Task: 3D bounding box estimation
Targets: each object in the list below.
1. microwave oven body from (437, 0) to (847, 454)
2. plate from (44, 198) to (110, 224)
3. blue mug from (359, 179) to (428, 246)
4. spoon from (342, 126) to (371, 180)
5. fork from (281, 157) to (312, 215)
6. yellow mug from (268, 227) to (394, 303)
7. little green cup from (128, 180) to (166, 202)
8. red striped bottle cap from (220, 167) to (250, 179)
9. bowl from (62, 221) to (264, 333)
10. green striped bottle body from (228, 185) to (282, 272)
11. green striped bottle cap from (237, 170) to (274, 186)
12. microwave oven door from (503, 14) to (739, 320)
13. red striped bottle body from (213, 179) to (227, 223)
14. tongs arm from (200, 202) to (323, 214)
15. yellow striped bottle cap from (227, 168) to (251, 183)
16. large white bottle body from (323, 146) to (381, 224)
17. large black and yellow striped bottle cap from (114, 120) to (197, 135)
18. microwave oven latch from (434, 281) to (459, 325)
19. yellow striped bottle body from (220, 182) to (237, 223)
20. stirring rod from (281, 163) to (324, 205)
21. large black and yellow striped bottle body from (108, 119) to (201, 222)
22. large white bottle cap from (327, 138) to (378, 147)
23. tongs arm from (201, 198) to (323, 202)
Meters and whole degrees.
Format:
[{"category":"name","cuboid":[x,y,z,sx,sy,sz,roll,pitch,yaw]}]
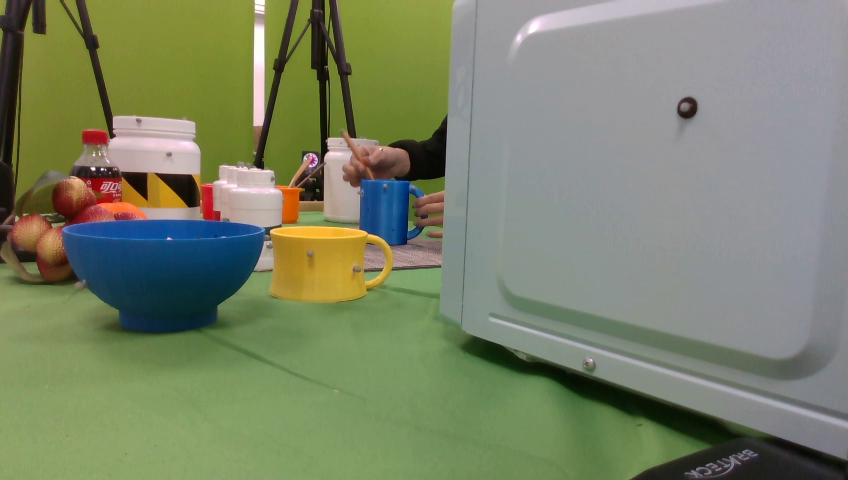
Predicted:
[{"category":"microwave oven body","cuboid":[0.279,-0.040,0.464,0.444,0.260,0.324,-3,9,-41]},{"category":"plate","cuboid":[-0.617,-0.056,1.179,0.209,0.038,0.209,3,7,0]},{"category":"blue mug","cuboid":[-0.051,-0.047,1.008,0.116,0.106,0.082,3,8,5]},{"category":"spoon","cuboid":[-0.096,-0.100,1.014,0.021,0.193,0.042,-16,9,19]},{"category":"fork","cuboid":[-0.289,-0.116,1.321,0.028,0.019,0.207,7,52,18]},{"category":"yellow mug","cuboid":[-0.094,0.023,0.629,0.131,0.064,0.099,0,6,-22]},{"category":"little green cup","cuboid":[-0.485,-0.087,1.062,0.061,0.038,0.061,-1,6,0]},{"category":"red striped bottle cap","cuboid":[-0.281,-0.100,0.901,0.044,0.017,0.044,-1,5,0]},{"category":"bowl","cuboid":[-0.209,0.029,0.496,0.151,0.077,0.151,2,7,0]},{"category":"green striped bottle body","cuboid":[-0.208,-0.023,0.745,0.063,0.119,0.063,2,7,0]},{"category":"green striped bottle cap","cuboid":[-0.205,-0.075,0.737,0.044,0.020,0.044,2,5,0]},{"category":"microwave oven door","cuboid":[0.217,-0.065,0.600,0.358,0.243,0.039,-4,10,-41]},{"category":"red striped bottle body","cuboid":[-0.284,-0.048,0.909,0.063,0.119,0.063,3,10,0]},{"category":"tongs arm","cuboid":[-0.378,-0.079,1.440,0.387,0.026,0.050,-4,8,-44]},{"category":"yellow striped bottle cap","cuboid":[-0.243,-0.087,0.818,0.044,0.018,0.044,3,6,0]},{"category":"large white bottle body","cuboid":[-0.163,-0.134,1.369,0.131,0.184,0.130,2,8,0]},{"category":"large black and yellow striped bottle cap","cuboid":[-0.407,-0.171,0.920,0.115,0.019,0.115,2,9,0]},{"category":"microwave oven latch","cuboid":[0.044,0.045,0.470,0.079,0.029,0.030,-2,8,-39]},{"category":"yellow striped bottle body","cuboid":[-0.246,-0.036,0.825,0.063,0.120,0.063,3,8,0]},{"category":"stirring rod","cuboid":[-0.278,-0.105,1.293,0.176,0.006,0.014,-47,24,-18]},{"category":"large black and yellow striped bottle body","cuboid":[-0.412,-0.088,0.930,0.131,0.184,0.130,3,7,0]},{"category":"large white bottle cap","cuboid":[-0.160,-0.218,1.357,0.115,0.018,0.115,2,8,0]},{"category":"tongs arm","cuboid":[-0.432,-0.090,1.507,0.390,0.028,0.028,-1,2,-30]}]
